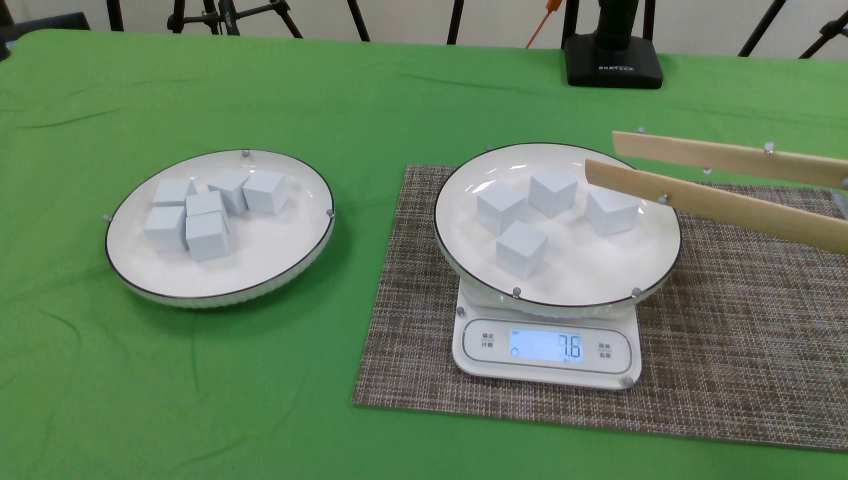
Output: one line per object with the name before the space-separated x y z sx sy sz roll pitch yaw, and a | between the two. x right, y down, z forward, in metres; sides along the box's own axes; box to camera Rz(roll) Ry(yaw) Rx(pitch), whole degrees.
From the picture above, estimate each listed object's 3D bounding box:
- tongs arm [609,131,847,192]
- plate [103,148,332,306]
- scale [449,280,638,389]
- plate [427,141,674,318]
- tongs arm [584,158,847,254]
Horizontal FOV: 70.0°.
tongs arm | 0.283 -0.022 0.367 0.381 0.027 0.050 17 53 38
plate | -0.191 -0.013 0.582 0.209 0.038 0.207 0 45 0
scale | 0.104 0.033 0.532 0.148 0.032 0.199 5 46 6
plate | 0.106 -0.010 0.529 0.208 0.039 0.205 1 45 0
tongs arm | 0.266 -0.005 0.356 0.384 0.028 0.028 20 52 40
